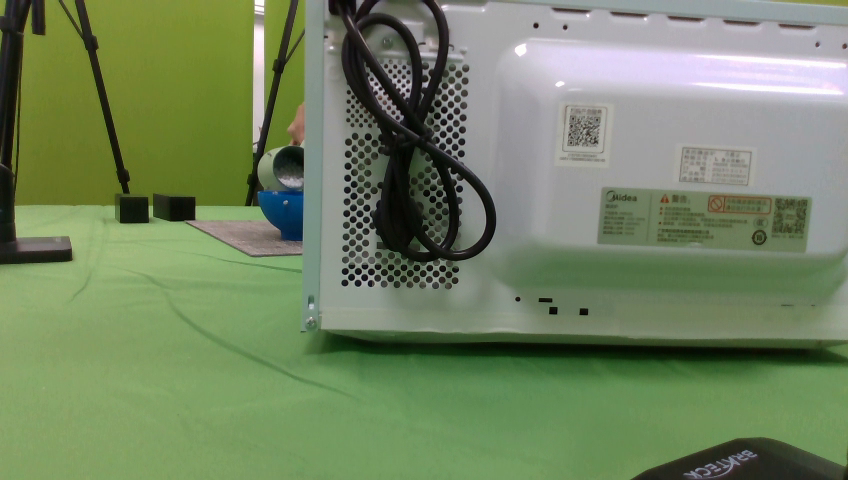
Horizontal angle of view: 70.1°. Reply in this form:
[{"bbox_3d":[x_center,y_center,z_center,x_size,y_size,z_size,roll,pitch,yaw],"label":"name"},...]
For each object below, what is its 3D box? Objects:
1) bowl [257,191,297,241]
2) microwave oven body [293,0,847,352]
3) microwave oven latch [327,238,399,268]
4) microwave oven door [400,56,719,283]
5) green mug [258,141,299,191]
[{"bbox_3d":[-0.206,-0.041,1.026,0.151,0.077,0.151,3,7,0],"label":"bowl"},{"bbox_3d":[0.122,-0.055,0.550,0.442,0.260,0.325,3,7,-5],"label":"microwave oven body"},{"bbox_3d":[-0.069,0.015,0.694,0.079,0.029,0.030,3,7,-3],"label":"microwave oven latch"},{"bbox_3d":[0.155,-0.077,0.697,0.356,0.243,0.039,2,8,-5],"label":"microwave oven door"},{"bbox_3d":[-0.246,-0.142,1.122,0.093,0.125,0.104,31,-15,-22],"label":"green mug"}]
